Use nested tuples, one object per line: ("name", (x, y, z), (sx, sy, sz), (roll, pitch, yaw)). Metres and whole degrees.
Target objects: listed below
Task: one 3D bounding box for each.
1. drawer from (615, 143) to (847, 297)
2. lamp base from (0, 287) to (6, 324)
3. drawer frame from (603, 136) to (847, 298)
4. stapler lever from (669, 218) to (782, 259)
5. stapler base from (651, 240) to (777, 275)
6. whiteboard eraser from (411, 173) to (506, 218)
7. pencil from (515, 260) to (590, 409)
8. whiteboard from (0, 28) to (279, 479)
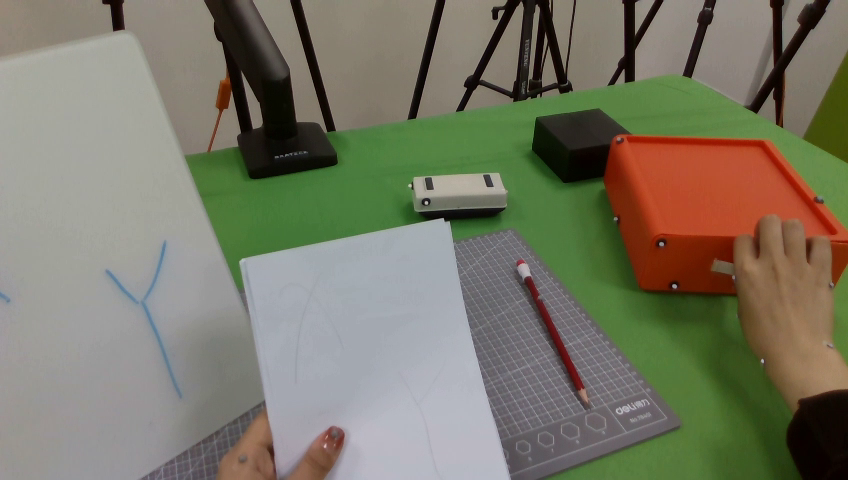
("drawer", (0.325, -0.031, 0.684), (0.194, 0.074, 0.210), (2, 37, 3))
("lamp base", (-0.488, 0.019, 0.513), (0.178, 0.182, 0.160), (11, 38, 17))
("drawer frame", (0.325, -0.034, 0.687), (0.202, 0.083, 0.211), (1, 36, 1))
("stapler lever", (0.316, -0.002, 0.633), (0.118, 0.040, 0.026), (2, 51, -1))
("stapler base", (0.315, 0.016, 0.653), (0.130, 0.024, 0.041), (1, 51, -1))
("whiteboard eraser", (0.041, -0.054, 0.741), (0.113, 0.042, 0.055), (-3, 39, -5))
("pencil", (0.121, 0.083, 0.582), (0.012, 0.012, 0.192), (-6, 39, -9))
("whiteboard", (-0.278, 0.029, 0.449), (0.217, 0.307, 0.142), (-29, 27, -33))
